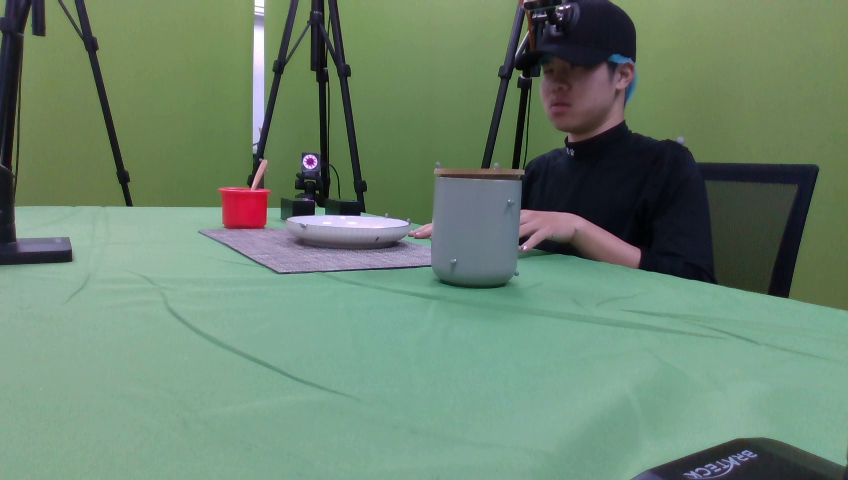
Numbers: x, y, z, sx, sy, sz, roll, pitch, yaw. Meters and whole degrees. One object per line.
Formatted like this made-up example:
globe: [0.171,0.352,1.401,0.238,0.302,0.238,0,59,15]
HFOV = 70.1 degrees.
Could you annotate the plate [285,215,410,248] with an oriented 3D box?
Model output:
plate: [-0.127,-0.015,1.012,0.208,0.039,0.207,3,7,0]

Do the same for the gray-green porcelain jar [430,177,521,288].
gray-green porcelain jar: [0.060,-0.011,0.725,0.106,0.126,0.106,2,7,0]

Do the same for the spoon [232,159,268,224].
spoon: [-0.343,-0.101,1.218,0.041,0.021,0.193,4,51,4]

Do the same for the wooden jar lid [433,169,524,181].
wooden jar lid: [0.064,-0.074,0.717,0.108,0.020,0.108,0,5,0]
